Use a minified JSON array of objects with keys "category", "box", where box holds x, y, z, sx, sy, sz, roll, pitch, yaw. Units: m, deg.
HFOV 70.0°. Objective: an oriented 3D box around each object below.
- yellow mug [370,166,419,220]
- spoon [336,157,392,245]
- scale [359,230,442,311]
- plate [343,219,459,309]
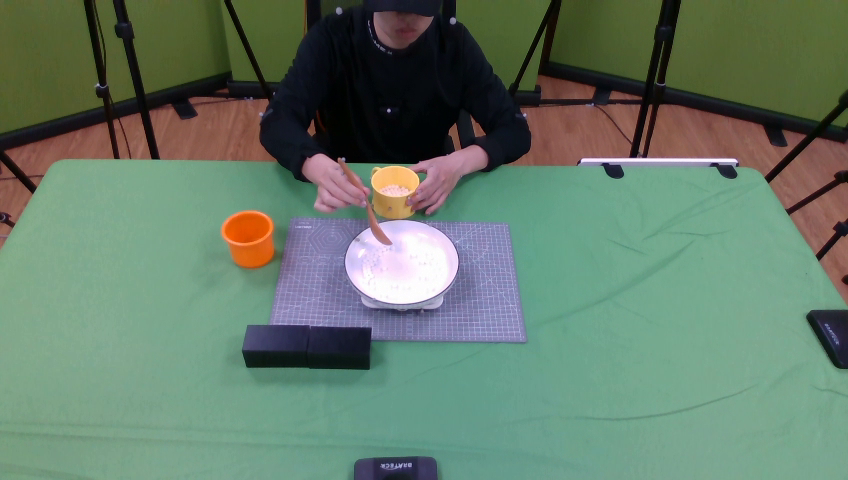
[{"category":"yellow mug","box":[-0.072,-0.108,1.267,0.100,0.064,0.130,-30,54,-29]},{"category":"spoon","box":[-0.105,-0.065,1.057,0.021,0.195,0.041,-38,31,-25]},{"category":"scale","box":[-0.043,0.048,1.138,0.149,0.032,0.199,2,46,-3]},{"category":"plate","box":[-0.041,0.046,1.094,0.209,0.038,0.208,2,46,-2]}]
